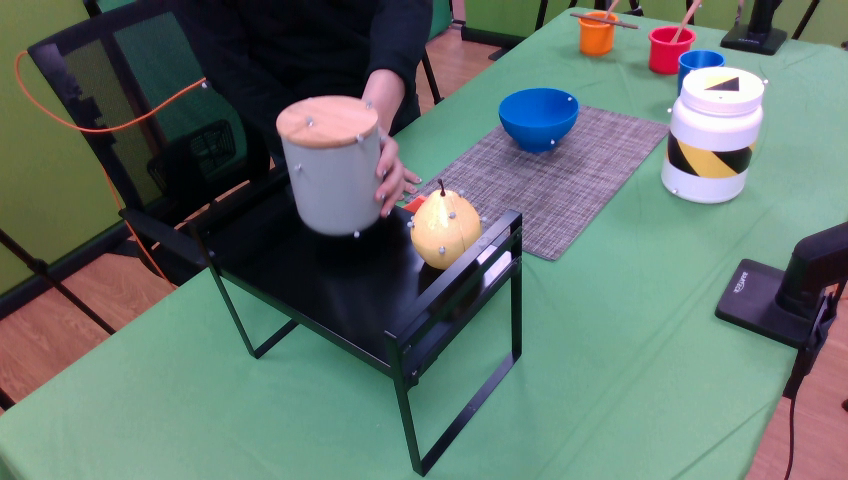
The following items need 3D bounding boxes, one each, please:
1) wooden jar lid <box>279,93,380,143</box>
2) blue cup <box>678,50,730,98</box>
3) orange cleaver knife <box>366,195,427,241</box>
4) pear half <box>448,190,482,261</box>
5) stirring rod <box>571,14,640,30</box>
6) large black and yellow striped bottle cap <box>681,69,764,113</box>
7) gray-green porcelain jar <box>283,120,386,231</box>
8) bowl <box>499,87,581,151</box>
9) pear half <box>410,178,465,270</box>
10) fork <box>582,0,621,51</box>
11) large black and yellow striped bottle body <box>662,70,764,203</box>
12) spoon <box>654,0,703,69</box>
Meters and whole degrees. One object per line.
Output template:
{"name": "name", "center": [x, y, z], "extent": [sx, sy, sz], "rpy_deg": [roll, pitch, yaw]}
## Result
{"name": "wooden jar lid", "center": [-0.102, -0.130, 0.656], "extent": [0.108, 0.021, 0.108], "rpy_deg": [0, 37, 0]}
{"name": "blue cup", "center": [0.542, -0.310, 1.194], "extent": [0.092, 0.101, 0.092], "rpy_deg": [-6, 41, 6]}
{"name": "orange cleaver knife", "center": [-0.037, -0.029, 0.973], "extent": [0.210, 0.077, 0.012], "rpy_deg": [-8, 33, 50]}
{"name": "pear half", "center": [0.046, -0.020, 0.664], "extent": [0.031, 0.088, 0.070], "rpy_deg": [-17, 38, -9]}
{"name": "stirring rod", "center": [0.419, -0.508, 1.404], "extent": [0.174, 0.006, 0.014], "rpy_deg": [28, 54, 35]}
{"name": "large black and yellow striped bottle cap", "center": [0.453, -0.229, 0.921], "extent": [0.115, 0.019, 0.114], "rpy_deg": [-4, 39, 4]}
{"name": "gray-green porcelain jar", "center": [-0.099, -0.082, 0.696], "extent": [0.106, 0.127, 0.105], "rpy_deg": [-1, 39, 1]}
{"name": "bowl", "center": [0.221, -0.223, 1.156], "extent": [0.151, 0.077, 0.150], "rpy_deg": [-4, 40, 4]}
{"name": "pear half", "center": [0.011, -0.019, 0.654], "extent": [0.056, 0.110, 0.076], "rpy_deg": [-16, 37, -10]}
{"name": "fork", "center": [0.446, -0.538, 1.438], "extent": [0.207, 0.019, 0.028], "rpy_deg": [-57, 35, 12]}
{"name": "large black and yellow striped bottle body", "center": [0.464, -0.166, 0.976], "extent": [0.131, 0.185, 0.130], "rpy_deg": [-5, 41, 5]}
{"name": "spoon", "center": [0.569, -0.462, 1.335], "extent": [0.041, 0.022, 0.193], "rpy_deg": [34, 99, 37]}
